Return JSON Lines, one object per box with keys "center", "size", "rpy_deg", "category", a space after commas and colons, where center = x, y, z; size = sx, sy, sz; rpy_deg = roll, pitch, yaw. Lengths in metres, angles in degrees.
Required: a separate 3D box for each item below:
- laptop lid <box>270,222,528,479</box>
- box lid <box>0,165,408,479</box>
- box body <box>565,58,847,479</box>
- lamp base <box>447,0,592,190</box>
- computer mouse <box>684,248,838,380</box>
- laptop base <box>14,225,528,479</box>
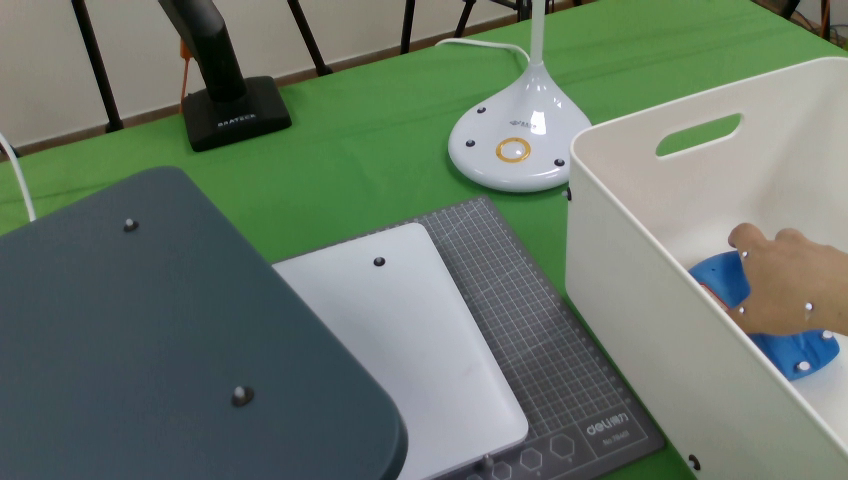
{"center": [-0.127, 0.111, 0.461], "size": [0.357, 0.013, 0.239], "rpy_deg": [-17, 49, -10], "category": "laptop lid"}
{"center": [-0.205, 0.075, 0.332], "size": [0.263, 0.015, 0.367], "rpy_deg": [-32, 42, -21], "category": "box lid"}
{"center": [0.278, 0.060, 0.382], "size": [0.254, 0.162, 0.359], "rpy_deg": [-18, 46, -12], "category": "box body"}
{"center": [0.100, -0.172, 0.617], "size": [0.160, 0.182, 0.178], "rpy_deg": [6, 44, 13], "category": "lamp base"}
{"center": [0.260, 0.052, 0.471], "size": [0.063, 0.041, 0.116], "rpy_deg": [-17, 51, -12], "category": "computer mouse"}
{"center": [-0.127, 0.118, 0.471], "size": [0.355, 0.023, 0.233], "rpy_deg": [-18, 50, -11], "category": "laptop base"}
